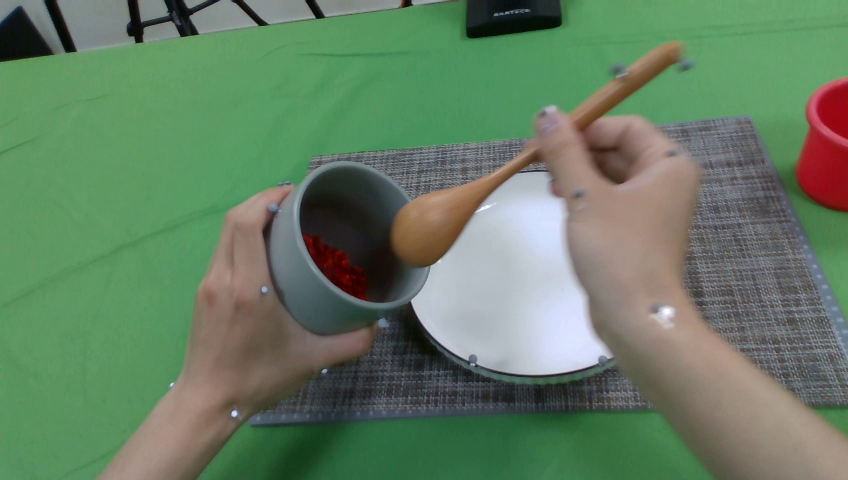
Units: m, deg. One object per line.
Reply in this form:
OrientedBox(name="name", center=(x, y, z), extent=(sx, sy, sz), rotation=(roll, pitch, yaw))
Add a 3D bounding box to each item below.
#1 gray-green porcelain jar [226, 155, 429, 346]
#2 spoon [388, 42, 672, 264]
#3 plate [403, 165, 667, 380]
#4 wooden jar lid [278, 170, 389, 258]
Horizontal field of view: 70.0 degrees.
OrientedBox(name="gray-green porcelain jar", center=(-0.075, 0.015, 0.435), extent=(0.126, 0.106, 0.105), rotation=(-32, 32, 45))
OrientedBox(name="spoon", center=(0.050, -0.046, 0.342), extent=(0.194, 0.022, 0.041), rotation=(-35, 75, 20))
OrientedBox(name="plate", center=(0.085, 0.024, 0.492), extent=(0.207, 0.039, 0.205), rotation=(-6, 49, 8))
OrientedBox(name="wooden jar lid", center=(-0.086, -0.024, 0.582), extent=(0.108, 0.021, 0.107), rotation=(-6, 49, 7))
